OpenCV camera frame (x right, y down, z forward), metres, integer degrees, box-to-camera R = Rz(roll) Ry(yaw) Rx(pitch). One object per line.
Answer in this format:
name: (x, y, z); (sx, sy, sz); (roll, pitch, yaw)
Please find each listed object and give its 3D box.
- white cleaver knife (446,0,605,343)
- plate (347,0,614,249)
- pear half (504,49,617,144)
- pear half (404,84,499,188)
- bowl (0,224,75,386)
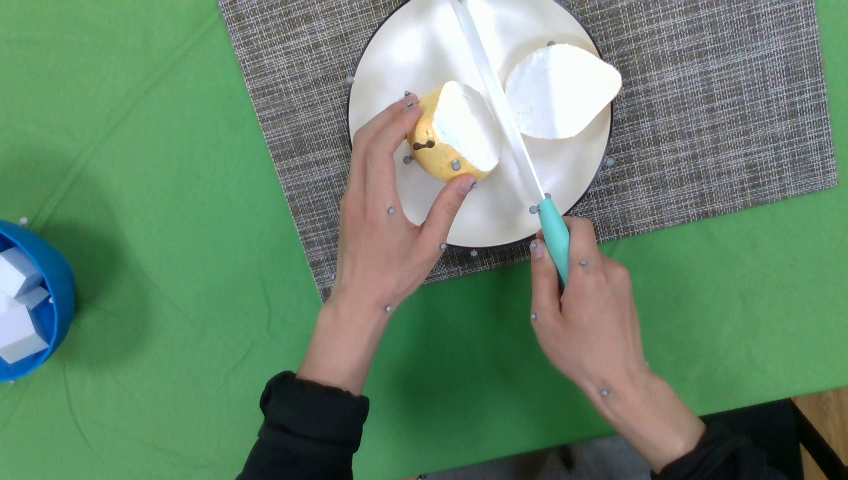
white cleaver knife: (0.080, -0.045, 0.458); (0.021, 0.065, 0.288); (-24, 108, 3)
plate: (0.044, -0.097, 0.488); (0.207, 0.039, 0.208); (2, 105, 6)
pear half: (0.106, -0.112, 0.472); (0.087, 0.031, 0.070); (-4, 102, 25)
pear half: (0.009, -0.070, 0.445); (0.056, 0.110, 0.076); (-30, 88, 31)
bowl: (-0.381, 0.049, 0.555); (0.151, 0.076, 0.152); (1, 105, 6)
